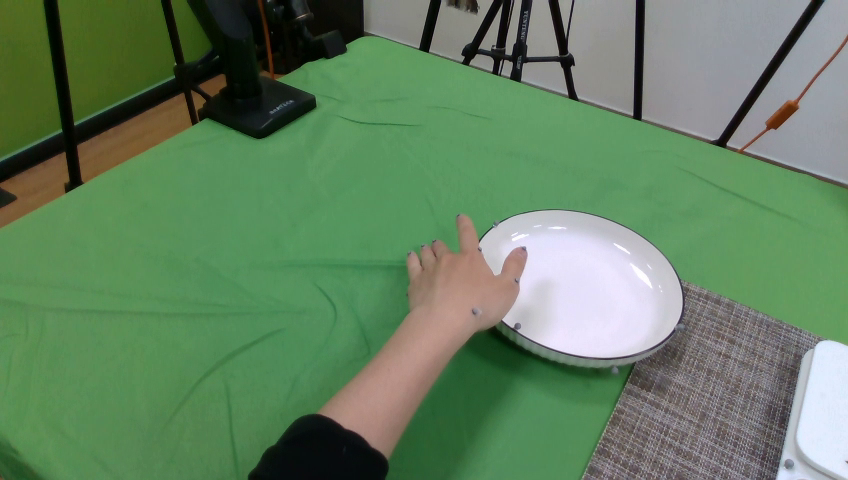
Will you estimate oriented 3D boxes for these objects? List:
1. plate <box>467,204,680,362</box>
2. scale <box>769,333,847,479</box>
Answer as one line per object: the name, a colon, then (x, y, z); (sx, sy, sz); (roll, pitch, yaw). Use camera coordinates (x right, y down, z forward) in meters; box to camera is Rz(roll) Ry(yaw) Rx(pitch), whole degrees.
plate: (0.145, 0.041, 0.609); (0.209, 0.038, 0.207); (2, 42, -1)
scale: (0.365, 0.171, 0.479); (0.147, 0.032, 0.200); (25, 46, 22)
